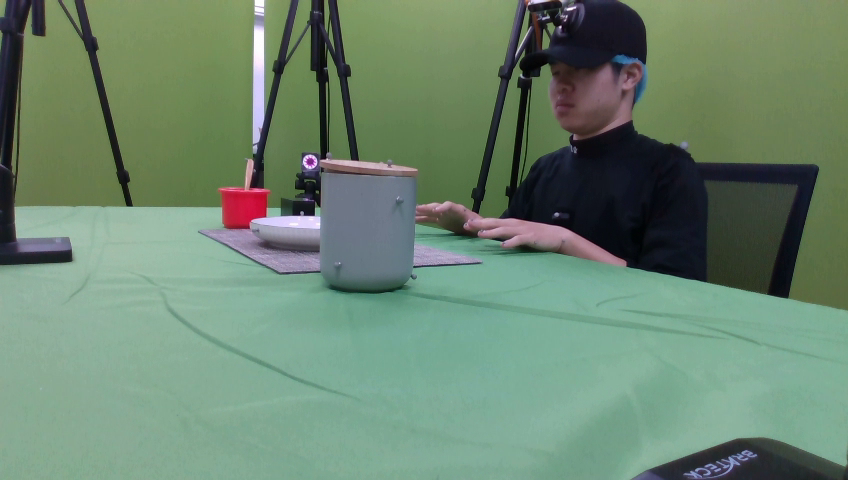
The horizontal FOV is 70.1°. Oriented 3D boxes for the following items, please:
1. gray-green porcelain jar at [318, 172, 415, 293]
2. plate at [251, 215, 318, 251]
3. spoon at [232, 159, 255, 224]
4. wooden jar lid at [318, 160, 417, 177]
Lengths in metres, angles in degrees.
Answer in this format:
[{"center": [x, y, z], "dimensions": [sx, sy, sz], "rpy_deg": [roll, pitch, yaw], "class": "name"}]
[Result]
[{"center": [-0.064, -0.010, 0.672], "dimensions": [0.106, 0.126, 0.106], "rpy_deg": [2, 7, 0], "class": "gray-green porcelain jar"}, {"center": [-0.170, -0.012, 0.971], "dimensions": [0.208, 0.039, 0.207], "rpy_deg": [3, 7, 0], "class": "plate"}, {"center": [-0.356, -0.101, 1.218], "dimensions": [0.042, 0.021, 0.193], "rpy_deg": [1, 51, -9], "class": "spoon"}, {"center": [-0.063, -0.073, 0.665], "dimensions": [0.108, 0.020, 0.108], "rpy_deg": [5, 9, 0], "class": "wooden jar lid"}]
